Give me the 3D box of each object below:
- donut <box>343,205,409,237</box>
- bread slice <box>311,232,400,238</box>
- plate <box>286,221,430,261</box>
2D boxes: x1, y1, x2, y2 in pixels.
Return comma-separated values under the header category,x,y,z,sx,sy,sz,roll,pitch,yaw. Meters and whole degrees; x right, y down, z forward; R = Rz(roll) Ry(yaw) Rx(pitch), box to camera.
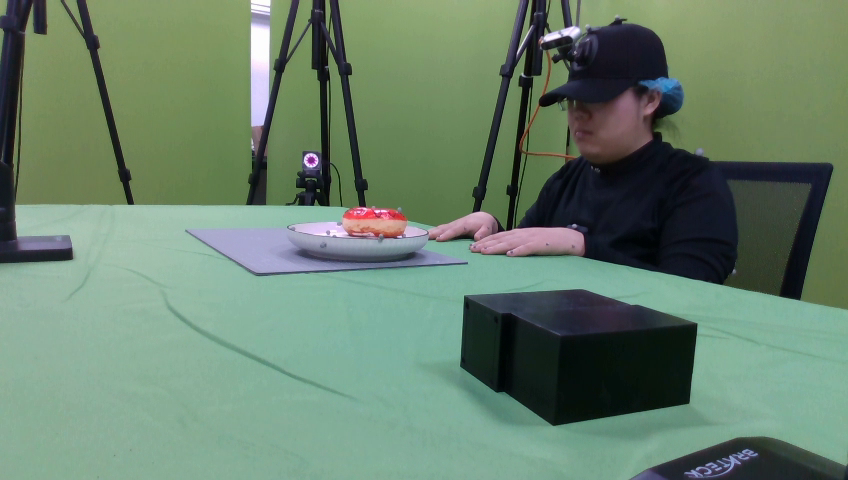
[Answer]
category,x,y,z,sx,sy,sz,roll,pitch,yaw
donut,-0.072,-0.027,0.894,0.099,0.048,0.099,4,3,0
bread slice,-0.101,0.002,0.885,0.135,0.018,0.106,-3,7,-38
plate,-0.096,0.001,0.886,0.209,0.038,0.209,2,7,0
